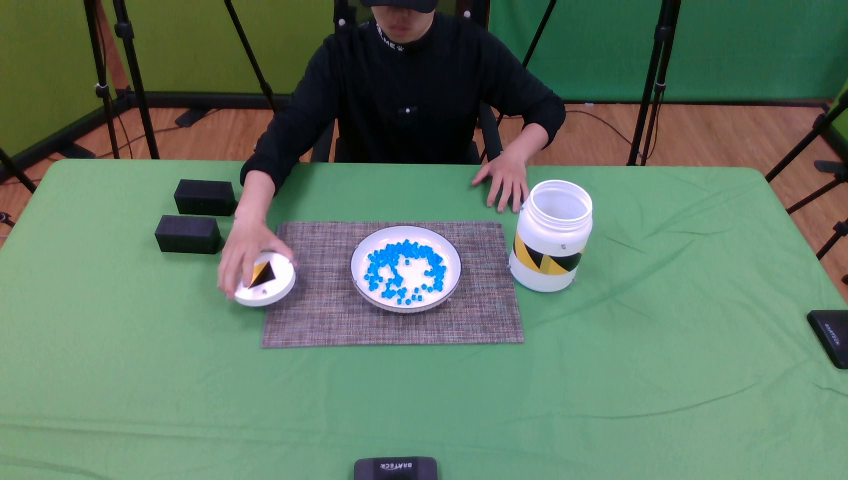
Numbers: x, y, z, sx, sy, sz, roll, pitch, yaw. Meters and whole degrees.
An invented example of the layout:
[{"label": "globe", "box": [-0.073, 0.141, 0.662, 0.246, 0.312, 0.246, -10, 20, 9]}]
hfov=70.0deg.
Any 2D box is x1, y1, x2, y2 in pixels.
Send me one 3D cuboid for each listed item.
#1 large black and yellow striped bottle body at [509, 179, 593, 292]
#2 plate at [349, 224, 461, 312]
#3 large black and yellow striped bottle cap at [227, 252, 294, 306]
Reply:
[{"label": "large black and yellow striped bottle body", "box": [0.232, -0.008, 1.108, 0.131, 0.185, 0.130, 2, 46, -2]}, {"label": "plate", "box": [-0.035, 0.054, 1.126, 0.208, 0.039, 0.206, 2, 46, -2]}, {"label": "large black and yellow striped bottle cap", "box": [-0.286, 0.067, 1.062, 0.115, 0.019, 0.114, -1, 43, 1]}]
